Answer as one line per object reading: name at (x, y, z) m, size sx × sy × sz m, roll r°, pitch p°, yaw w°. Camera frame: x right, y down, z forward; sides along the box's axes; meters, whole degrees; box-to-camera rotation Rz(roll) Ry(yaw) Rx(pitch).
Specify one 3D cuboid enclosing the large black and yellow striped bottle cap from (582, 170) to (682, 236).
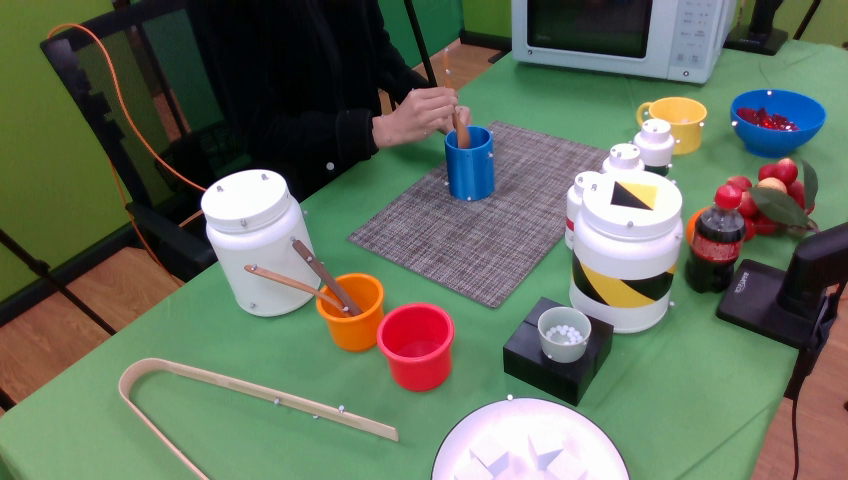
large black and yellow striped bottle cap at (0.252, -0.048, 0.735) m, size 0.115 × 0.019 × 0.114 m, roll -3°, pitch 40°, yaw 3°

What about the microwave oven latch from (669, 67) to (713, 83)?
microwave oven latch at (0.556, -0.348, 1.261) m, size 0.078 × 0.029 × 0.030 m, roll 16°, pitch 46°, yaw 27°

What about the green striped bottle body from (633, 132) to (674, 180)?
green striped bottle body at (0.376, -0.135, 1.001) m, size 0.063 × 0.120 × 0.063 m, roll -5°, pitch 41°, yaw 5°

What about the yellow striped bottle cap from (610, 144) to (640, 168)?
yellow striped bottle cap at (0.307, -0.128, 0.923) m, size 0.044 × 0.019 × 0.044 m, roll -5°, pitch 39°, yaw 5°

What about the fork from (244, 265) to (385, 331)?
fork at (-0.142, 0.078, 0.806) m, size 0.209 × 0.018 × 0.028 m, roll 30°, pitch 32°, yaw -23°

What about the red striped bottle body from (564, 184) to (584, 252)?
red striped bottle body at (0.247, -0.041, 0.910) m, size 0.063 × 0.120 × 0.062 m, roll -3°, pitch 39°, yaw 3°

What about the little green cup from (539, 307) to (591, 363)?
little green cup at (0.167, 0.114, 0.721) m, size 0.061 × 0.039 × 0.061 m, roll -4°, pitch 43°, yaw 4°

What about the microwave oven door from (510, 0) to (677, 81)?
microwave oven door at (0.354, -0.478, 1.290) m, size 0.353 × 0.245 × 0.039 m, roll 15°, pitch 45°, yaw 25°

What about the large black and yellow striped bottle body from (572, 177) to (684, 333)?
large black and yellow striped bottle body at (0.262, 0.017, 0.788) m, size 0.131 × 0.185 × 0.130 m, roll -5°, pitch 40°, yaw 4°

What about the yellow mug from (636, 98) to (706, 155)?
yellow mug at (0.453, -0.217, 1.128) m, size 0.100 × 0.064 × 0.129 m, roll -34°, pitch 46°, yaw -27°

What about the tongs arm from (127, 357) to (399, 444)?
tongs arm at (-0.213, 0.205, 0.755) m, size 0.382 × 0.026 × 0.051 m, roll 12°, pitch 46°, yaw 23°

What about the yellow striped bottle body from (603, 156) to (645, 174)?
yellow striped bottle body at (0.313, -0.089, 0.956) m, size 0.063 × 0.121 × 0.062 m, roll -4°, pitch 40°, yaw 4°

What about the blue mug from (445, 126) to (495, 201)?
blue mug at (0.076, -0.142, 1.063) m, size 0.082 × 0.106 × 0.115 m, roll -16°, pitch 41°, yaw -9°

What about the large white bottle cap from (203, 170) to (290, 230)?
large white bottle cap at (-0.241, -0.057, 0.822) m, size 0.115 × 0.018 × 0.114 m, roll -4°, pitch 40°, yaw 4°

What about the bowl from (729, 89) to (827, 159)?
bowl at (0.615, -0.197, 1.069) m, size 0.151 × 0.077 × 0.150 m, roll -5°, pitch 40°, yaw 5°

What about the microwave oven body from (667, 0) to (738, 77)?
microwave oven body at (0.462, -0.552, 1.369) m, size 0.439 × 0.261 × 0.326 m, roll 15°, pitch 45°, yaw 26°

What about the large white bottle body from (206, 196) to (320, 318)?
large white bottle body at (-0.233, 0.008, 0.877) m, size 0.130 × 0.185 × 0.130 m, roll -4°, pitch 40°, yaw 4°

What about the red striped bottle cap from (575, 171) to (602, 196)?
red striped bottle cap at (0.242, -0.081, 0.876) m, size 0.044 × 0.018 × 0.044 m, roll -5°, pitch 43°, yaw 5°

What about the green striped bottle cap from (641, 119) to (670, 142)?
green striped bottle cap at (0.371, -0.175, 0.968) m, size 0.044 × 0.020 × 0.044 m, roll -4°, pitch 42°, yaw 4°

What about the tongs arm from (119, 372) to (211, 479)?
tongs arm at (-0.257, 0.256, 0.700) m, size 0.384 × 0.028 × 0.028 m, roll 24°, pitch 55°, yaw 33°

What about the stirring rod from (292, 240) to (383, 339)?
stirring rod at (-0.118, 0.068, 0.826) m, size 0.176 × 0.006 × 0.014 m, roll 49°, pitch 59°, yaw -4°

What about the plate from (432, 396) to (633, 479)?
plate at (0.112, 0.261, 0.634) m, size 0.209 × 0.038 × 0.208 m, roll -5°, pitch 40°, yaw 4°

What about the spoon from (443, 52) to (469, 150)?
spoon at (0.049, -0.214, 0.983) m, size 0.021 × 0.195 × 0.041 m, roll 11°, pitch 47°, yaw 30°
